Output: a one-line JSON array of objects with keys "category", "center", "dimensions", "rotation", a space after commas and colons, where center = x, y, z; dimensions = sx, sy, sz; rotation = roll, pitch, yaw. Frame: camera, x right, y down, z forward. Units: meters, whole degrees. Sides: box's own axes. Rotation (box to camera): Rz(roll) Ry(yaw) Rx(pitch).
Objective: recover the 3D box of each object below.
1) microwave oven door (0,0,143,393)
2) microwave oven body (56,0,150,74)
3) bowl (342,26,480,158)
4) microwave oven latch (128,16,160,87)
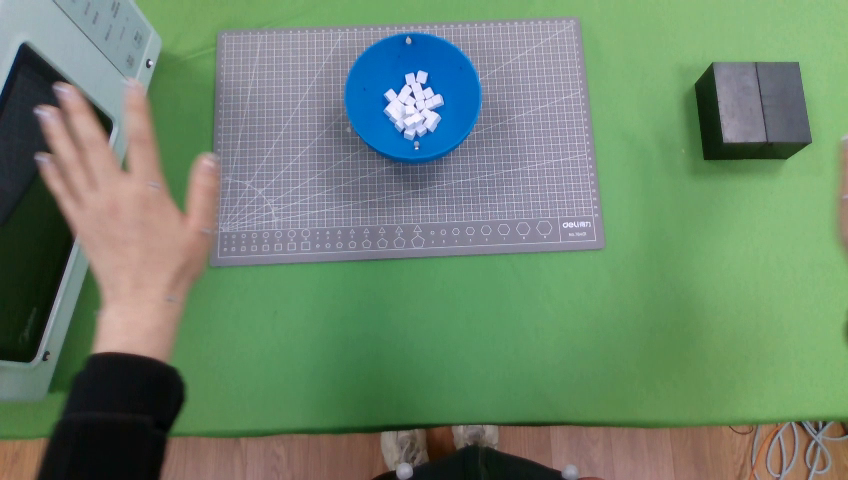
[{"category": "microwave oven door", "center": [-0.380, -0.038, 0.560], "dimensions": [0.039, 0.245, 0.354], "rotation": [11, 77, 3]}, {"category": "microwave oven body", "center": [-0.515, -0.105, 0.579], "dimensions": [0.326, 0.261, 0.440], "rotation": [11, 78, 2]}, {"category": "bowl", "center": [-0.014, -0.155, 0.689], "dimensions": [0.151, 0.077, 0.150], "rotation": [0, 77, 0]}, {"category": "microwave oven latch", "center": [-0.334, -0.222, 0.707], "dimensions": [0.030, 0.029, 0.079], "rotation": [12, 78, 2]}]
